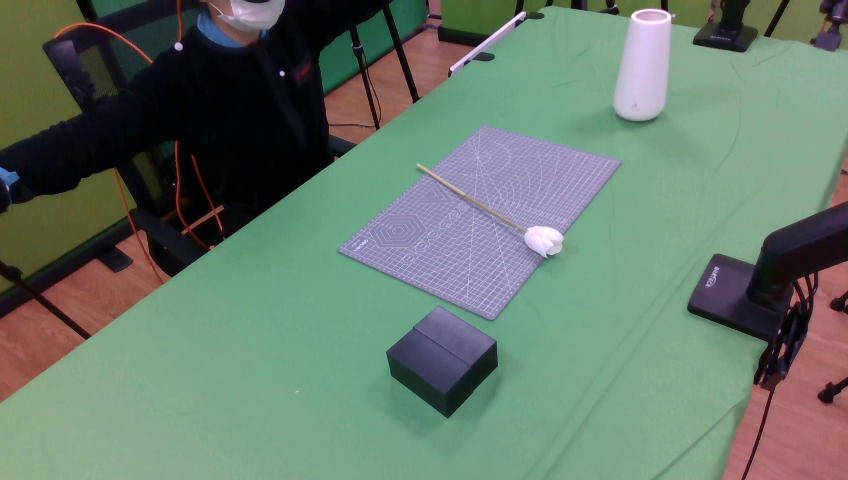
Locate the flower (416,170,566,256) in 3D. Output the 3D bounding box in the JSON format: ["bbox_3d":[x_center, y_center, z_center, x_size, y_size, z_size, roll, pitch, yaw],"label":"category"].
[{"bbox_3d":[0.094,-0.061,1.028,0.358,0.038,0.044,33,92,44],"label":"flower"}]

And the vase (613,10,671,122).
[{"bbox_3d":[0.419,-0.326,1.151,0.098,0.201,0.097,-4,42,4],"label":"vase"}]
